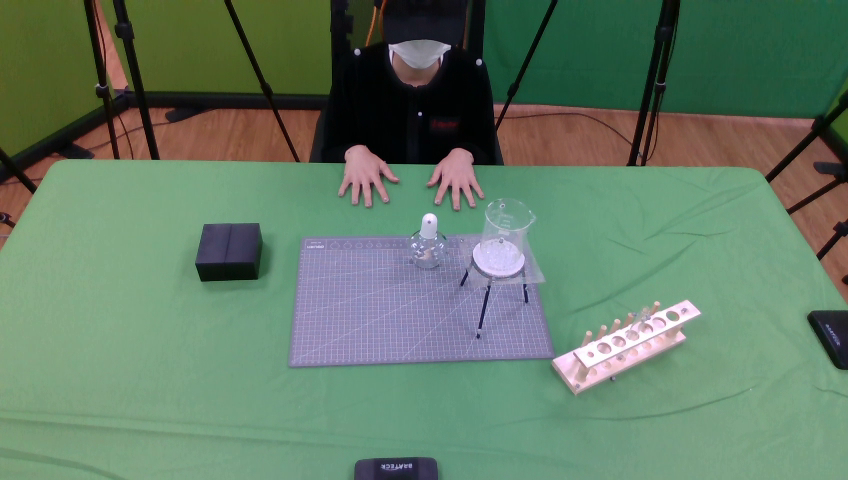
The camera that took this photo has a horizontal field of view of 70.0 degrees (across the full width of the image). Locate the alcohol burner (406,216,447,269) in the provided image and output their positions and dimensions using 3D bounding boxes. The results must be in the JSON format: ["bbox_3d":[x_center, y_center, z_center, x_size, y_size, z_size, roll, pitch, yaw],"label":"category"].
[{"bbox_3d":[0.006,-0.003,1.134,0.078,0.120,0.077,2,48,-2],"label":"alcohol burner"}]

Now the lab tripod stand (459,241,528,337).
[{"bbox_3d":[0.122,0.075,1.054,0.148,0.132,0.147,3,44,-3],"label":"lab tripod stand"}]

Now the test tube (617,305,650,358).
[{"bbox_3d":[0.333,0.149,0.967,0.017,0.151,0.017,0,52,1],"label":"test tube"}]

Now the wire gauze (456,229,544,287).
[{"bbox_3d":[0.125,0.030,1.008,0.125,0.011,0.120,-3,48,-11],"label":"wire gauze"}]

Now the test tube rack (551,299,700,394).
[{"bbox_3d":[0.339,0.166,1.021,0.242,0.085,0.066,-19,50,-21],"label":"test tube rack"}]

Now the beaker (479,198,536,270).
[{"bbox_3d":[0.131,-0.007,0.975,0.084,0.101,0.073,3,46,-3],"label":"beaker"}]

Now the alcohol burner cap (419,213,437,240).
[{"bbox_3d":[0.009,-0.027,1.109,0.034,0.048,0.033,3,44,-3],"label":"alcohol burner cap"}]
